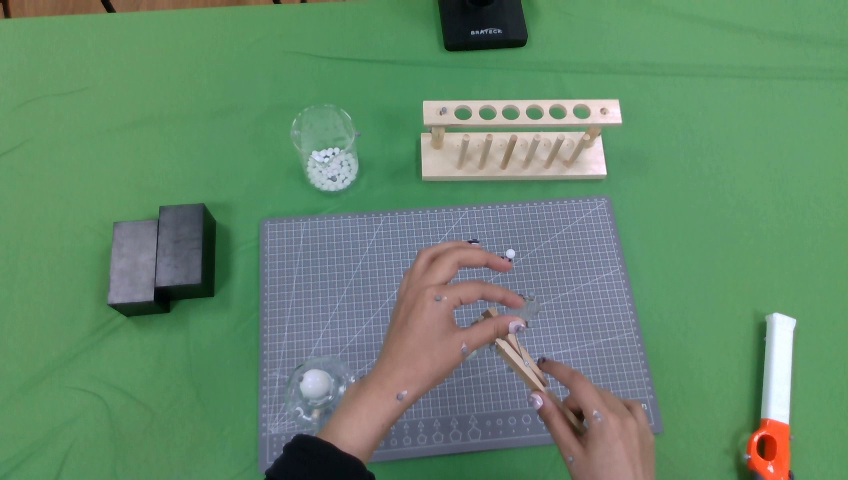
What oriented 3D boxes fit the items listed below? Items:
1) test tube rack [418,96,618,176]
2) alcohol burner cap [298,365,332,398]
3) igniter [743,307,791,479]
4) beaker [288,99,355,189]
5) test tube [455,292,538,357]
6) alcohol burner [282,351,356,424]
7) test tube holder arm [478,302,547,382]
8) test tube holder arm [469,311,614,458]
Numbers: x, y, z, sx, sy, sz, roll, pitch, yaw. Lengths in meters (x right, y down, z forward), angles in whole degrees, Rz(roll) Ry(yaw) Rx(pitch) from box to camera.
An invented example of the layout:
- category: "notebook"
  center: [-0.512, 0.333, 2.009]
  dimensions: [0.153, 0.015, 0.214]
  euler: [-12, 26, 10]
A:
- category: "test tube rack"
  center: [0.115, -0.131, 0.771]
  dimensions: [0.242, 0.085, 0.066]
  euler: [-1, 69, -3]
- category: "alcohol burner cap"
  center: [-0.109, 0.139, 0.598]
  dimensions: [0.034, 0.048, 0.033]
  euler: [1, 74, -3]
- category: "igniter"
  center: [0.390, 0.208, 0.685]
  dimensions: [0.057, 0.025, 0.275]
  euler: [19, 69, -6]
- category: "beaker"
  center: [-0.122, -0.111, 0.743]
  dimensions: [0.074, 0.101, 0.083]
  euler: [-2, 69, -3]
- category: "test tube"
  center: [0.062, 0.081, 0.556]
  dimensions: [0.017, 0.150, 0.017]
  euler: [9, 61, -17]
- category: "alcohol burner"
  center: [-0.111, 0.151, 0.632]
  dimensions: [0.078, 0.120, 0.077]
  euler: [2, 67, -4]
- category: "test tube holder arm"
  center: [0.081, 0.095, 0.554]
  dimensions: [0.010, 0.015, 0.087]
  euler: [-34, 85, -32]
- category: "test tube holder arm"
  center: [0.107, 0.132, 0.550]
  dimensions: [0.178, 0.015, 0.013]
  euler: [47, 59, 0]
